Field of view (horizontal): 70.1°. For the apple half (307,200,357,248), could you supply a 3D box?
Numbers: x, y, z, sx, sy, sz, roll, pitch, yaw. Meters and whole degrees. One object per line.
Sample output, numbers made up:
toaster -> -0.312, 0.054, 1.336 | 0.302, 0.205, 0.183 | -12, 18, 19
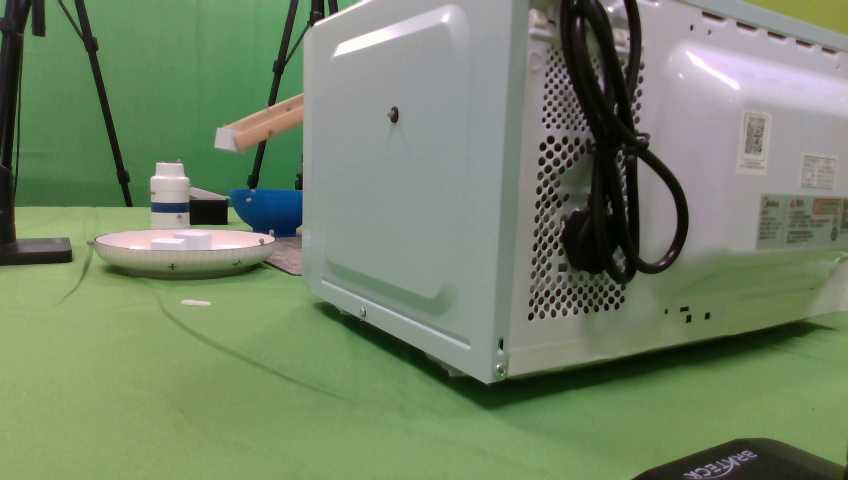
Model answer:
apple half -> -0.135, -0.024, 0.941 | 0.053, 0.074, 0.081 | 13, 9, 38

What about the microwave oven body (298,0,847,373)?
microwave oven body -> 0.151, -0.055, 0.543 | 0.444, 0.260, 0.324 | -1, 7, -33

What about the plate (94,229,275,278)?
plate -> -0.291, 0.016, 0.750 | 0.208, 0.039, 0.207 | 2, 7, 0

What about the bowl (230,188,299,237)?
bowl -> -0.264, -0.048, 1.066 | 0.151, 0.077, 0.151 | 3, 8, 0

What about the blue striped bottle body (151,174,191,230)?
blue striped bottle body -> -0.439, -0.072, 1.052 | 0.063, 0.120, 0.063 | 2, 7, 0

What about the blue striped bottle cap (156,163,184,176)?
blue striped bottle cap -> -0.438, -0.122, 1.045 | 0.044, 0.020, 0.044 | 5, 6, 0

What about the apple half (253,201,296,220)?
apple half -> -0.264, -0.053, 1.066 | 0.081, 0.033, 0.081 | 1, 8, 0

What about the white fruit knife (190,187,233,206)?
white fruit knife -> -0.413, -0.081, 1.270 | 0.208, 0.027, 0.016 | 18, 13, -41

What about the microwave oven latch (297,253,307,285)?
microwave oven latch -> -0.082, 0.027, 0.582 | 0.079, 0.029, 0.030 | -1, 8, -33

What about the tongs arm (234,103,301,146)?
tongs arm -> -0.190, -0.242, 1.068 | 0.028, 0.028, 0.388 | 3, 29, 34

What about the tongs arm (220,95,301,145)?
tongs arm -> -0.210, -0.245, 1.080 | 0.050, 0.026, 0.386 | 4, 29, 28

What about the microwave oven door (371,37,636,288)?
microwave oven door -> 0.109, -0.080, 0.686 | 0.358, 0.243, 0.039 | -2, 9, -33
